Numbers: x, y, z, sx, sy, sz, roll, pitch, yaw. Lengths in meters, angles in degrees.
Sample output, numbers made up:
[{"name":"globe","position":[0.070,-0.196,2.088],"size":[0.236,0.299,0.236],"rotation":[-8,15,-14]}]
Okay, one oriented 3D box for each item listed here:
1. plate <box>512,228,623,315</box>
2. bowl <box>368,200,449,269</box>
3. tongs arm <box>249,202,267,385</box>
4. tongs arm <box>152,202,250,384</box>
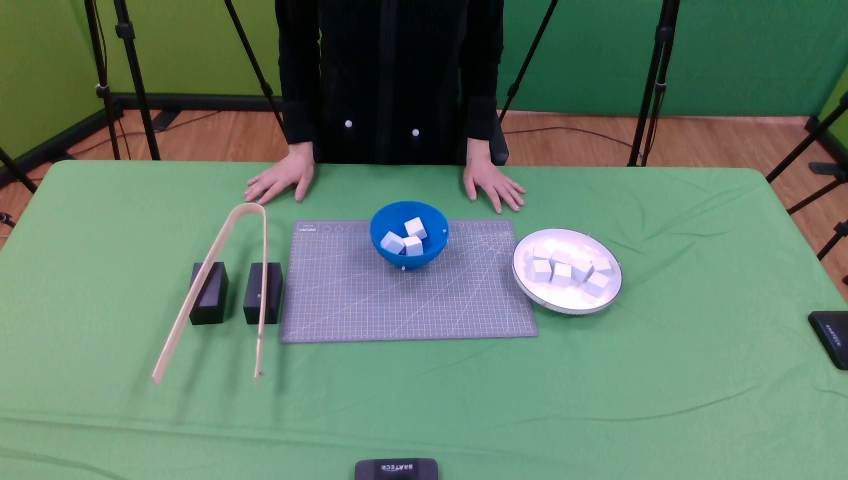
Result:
[{"name":"plate","position":[0.268,0.063,1.146],"size":[0.208,0.039,0.206],"rotation":[3,46,-3]},{"name":"bowl","position":[-0.031,0.002,1.150],"size":[0.151,0.077,0.150],"rotation":[2,46,-2]},{"name":"tongs arm","position":[-0.292,0.074,1.032],"size":[0.051,0.026,0.382],"rotation":[-2,47,-5]},{"name":"tongs arm","position":[-0.371,0.071,1.027],"size":[0.028,0.028,0.385],"rotation":[4,46,6]}]
